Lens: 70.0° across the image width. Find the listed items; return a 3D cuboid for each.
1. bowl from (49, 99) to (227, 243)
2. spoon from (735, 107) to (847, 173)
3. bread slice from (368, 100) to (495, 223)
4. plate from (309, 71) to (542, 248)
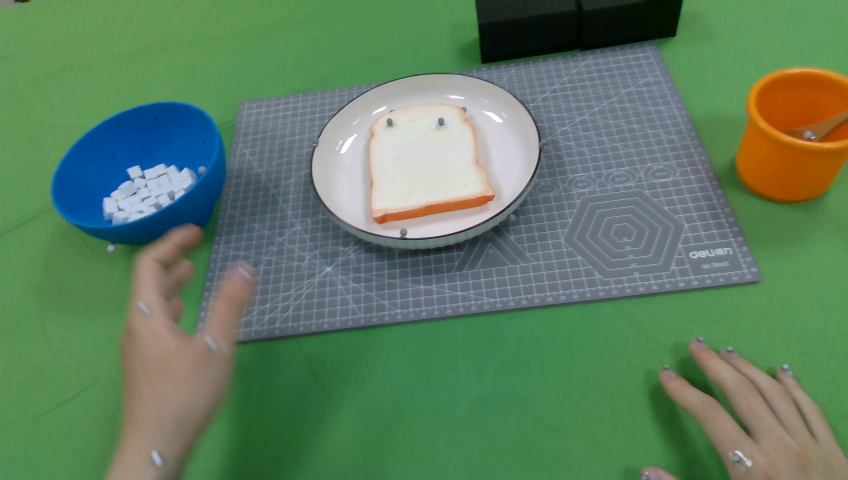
[{"bbox_3d":[-0.244,-0.049,0.554,0.151,0.077,0.150,-4,54,6],"label":"bowl"},{"bbox_3d":[0.331,-0.098,0.452,0.022,0.193,0.041,29,54,-25],"label":"spoon"},{"bbox_3d":[-0.002,-0.076,0.559,0.107,0.018,0.133,-13,55,1],"label":"bread slice"},{"bbox_3d":[0.001,-0.074,0.553,0.209,0.038,0.207,-4,54,7],"label":"plate"}]
